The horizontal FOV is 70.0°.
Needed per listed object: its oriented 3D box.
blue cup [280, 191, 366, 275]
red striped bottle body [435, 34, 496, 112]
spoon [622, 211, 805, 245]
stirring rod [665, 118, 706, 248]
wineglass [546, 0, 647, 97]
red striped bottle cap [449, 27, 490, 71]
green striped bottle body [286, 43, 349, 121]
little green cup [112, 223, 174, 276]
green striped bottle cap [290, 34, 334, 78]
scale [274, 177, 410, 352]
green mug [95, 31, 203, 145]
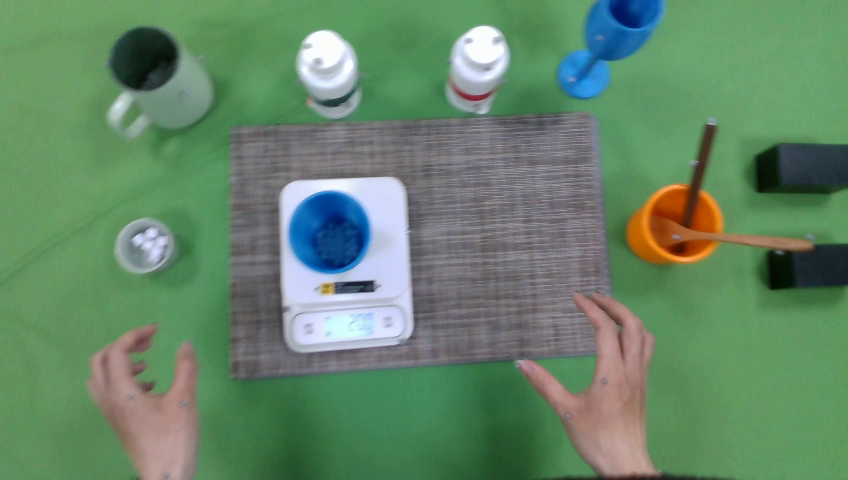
[{"bbox_3d":[-0.102,-0.001,0.651,0.093,0.100,0.092,0,84,-2],"label":"blue cup"},{"bbox_3d":[0.048,-0.200,0.712,0.063,0.120,0.063,0,81,-3],"label":"red striped bottle body"},{"bbox_3d":[0.319,-0.008,0.684,0.022,0.192,0.041,12,87,-45],"label":"spoon"},{"bbox_3d":[0.296,-0.058,0.690,0.014,0.178,0.006,3,41,12],"label":"stirring rod"},{"bbox_3d":[0.192,-0.228,0.696,0.074,0.172,0.073,0,81,-2],"label":"wineglass"},{"bbox_3d":[0.050,-0.208,0.659,0.044,0.018,0.044,0,80,-2],"label":"red striped bottle cap"},{"bbox_3d":[-0.122,-0.187,0.701,0.063,0.119,0.063,0,81,-3],"label":"green striped bottle body"},{"bbox_3d":[-0.322,0.013,0.703,0.061,0.039,0.061,1,81,-4],"label":"little green cup"},{"bbox_3d":[-0.119,-0.197,0.646,0.044,0.020,0.044,0,81,-1],"label":"green striped bottle cap"},{"bbox_3d":[-0.097,0.027,0.713,0.149,0.031,0.200,-5,83,-3],"label":"scale"},{"bbox_3d":[-0.322,-0.164,0.695,0.092,0.105,0.125,31,81,2],"label":"green mug"}]
